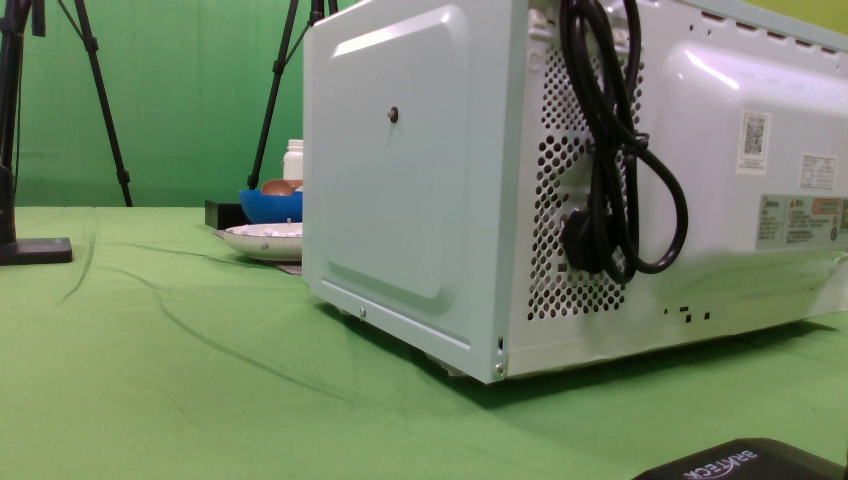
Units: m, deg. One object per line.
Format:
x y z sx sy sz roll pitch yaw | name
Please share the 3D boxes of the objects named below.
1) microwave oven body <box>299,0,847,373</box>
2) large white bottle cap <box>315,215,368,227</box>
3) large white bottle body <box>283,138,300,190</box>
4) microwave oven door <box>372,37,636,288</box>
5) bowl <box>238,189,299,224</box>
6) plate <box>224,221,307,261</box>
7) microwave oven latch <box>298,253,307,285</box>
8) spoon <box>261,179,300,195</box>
0.151 -0.055 0.542 0.444 0.260 0.324 -2 7 -33 | microwave oven body
-0.178 -0.041 1.309 0.115 0.018 0.115 2 7 0 | large white bottle cap
-0.265 -0.144 1.424 0.131 0.184 0.130 2 7 0 | large white bottle body
0.110 -0.080 0.686 0.358 0.243 0.039 -2 9 -33 | microwave oven door
-0.245 -0.046 1.053 0.151 0.077 0.151 3 7 0 | bowl
-0.172 0.000 0.850 0.209 0.038 0.209 0 7 0 | plate
-0.081 0.027 0.583 0.079 0.029 0.030 -2 7 -33 | microwave oven latch
-0.199 -0.108 1.074 0.194 0.041 0.021 -23 -12 -28 | spoon
